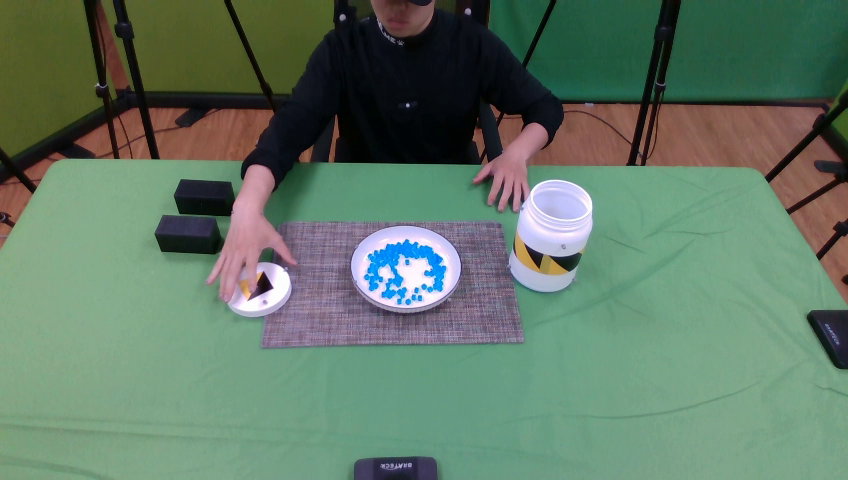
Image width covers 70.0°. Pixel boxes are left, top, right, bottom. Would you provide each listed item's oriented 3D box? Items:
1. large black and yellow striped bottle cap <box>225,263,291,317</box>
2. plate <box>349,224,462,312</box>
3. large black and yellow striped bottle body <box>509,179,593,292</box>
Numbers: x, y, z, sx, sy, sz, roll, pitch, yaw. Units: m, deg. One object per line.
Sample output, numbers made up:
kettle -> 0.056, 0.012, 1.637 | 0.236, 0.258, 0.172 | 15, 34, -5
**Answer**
large black and yellow striped bottle cap -> -0.299, 0.088, 1.089 | 0.115, 0.019, 0.114 | -1, 45, 1
plate -> -0.035, 0.054, 1.126 | 0.208, 0.039, 0.206 | 2, 46, -2
large black and yellow striped bottle body -> 0.232, -0.008, 1.108 | 0.131, 0.185, 0.130 | 2, 46, -2
